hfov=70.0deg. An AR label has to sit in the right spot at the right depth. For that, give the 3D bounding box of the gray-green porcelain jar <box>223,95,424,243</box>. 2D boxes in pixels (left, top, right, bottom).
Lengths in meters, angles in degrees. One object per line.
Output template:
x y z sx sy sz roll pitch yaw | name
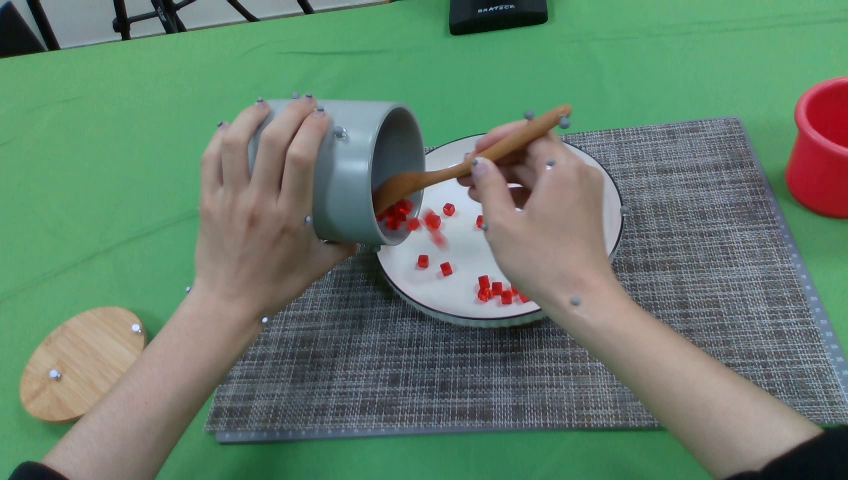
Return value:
-0.077 -0.055 0.460 0.126 0.107 0.105 6 53 19 | gray-green porcelain jar

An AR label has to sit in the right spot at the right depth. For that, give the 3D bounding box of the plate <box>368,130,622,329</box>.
0.057 -0.011 0.512 0.207 0.039 0.205 -6 50 8 | plate

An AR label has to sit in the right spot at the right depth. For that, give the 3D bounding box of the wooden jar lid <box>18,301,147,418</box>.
-0.285 0.101 0.514 0.108 0.021 0.107 -5 50 7 | wooden jar lid

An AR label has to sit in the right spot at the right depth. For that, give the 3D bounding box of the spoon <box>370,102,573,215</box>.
0.022 -0.053 0.417 0.193 0.022 0.041 -17 36 42 | spoon
